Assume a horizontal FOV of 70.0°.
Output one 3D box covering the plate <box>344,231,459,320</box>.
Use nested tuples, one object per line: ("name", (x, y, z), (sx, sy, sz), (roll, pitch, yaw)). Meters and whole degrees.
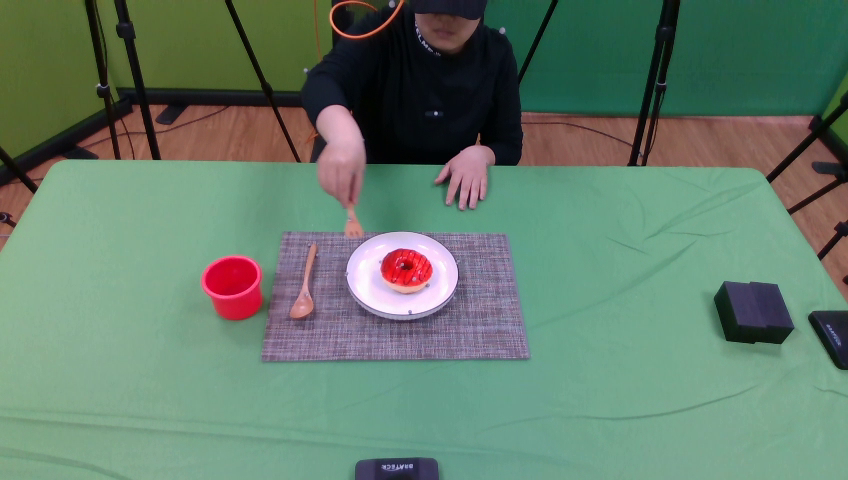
("plate", (-0.042, 0.068, 1.115), (0.209, 0.038, 0.208), (2, 46, -2))

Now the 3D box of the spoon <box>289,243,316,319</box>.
("spoon", (-0.215, 0.071, 1.108), (0.041, 0.022, 0.192), (-10, 45, 10))

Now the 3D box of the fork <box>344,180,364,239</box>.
("fork", (-0.124, -0.054, 1.029), (0.028, 0.019, 0.206), (-8, 36, -6))

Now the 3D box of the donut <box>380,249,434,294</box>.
("donut", (-0.032, 0.056, 1.111), (0.099, 0.048, 0.098), (3, 43, -3))
